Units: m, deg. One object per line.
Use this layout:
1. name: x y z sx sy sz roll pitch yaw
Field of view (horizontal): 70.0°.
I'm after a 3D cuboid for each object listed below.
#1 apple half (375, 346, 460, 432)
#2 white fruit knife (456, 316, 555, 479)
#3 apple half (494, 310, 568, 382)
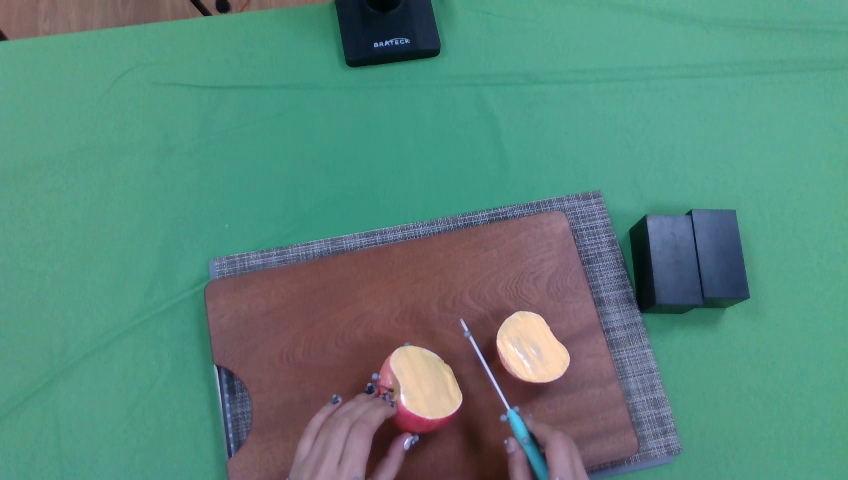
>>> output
1. apple half: -0.011 0.148 0.583 0.075 0.053 0.080 4 47 -38
2. white fruit knife: 0.079 0.162 0.560 0.016 0.027 0.206 -29 83 1
3. apple half: 0.100 0.113 0.612 0.081 0.033 0.080 12 52 -15
